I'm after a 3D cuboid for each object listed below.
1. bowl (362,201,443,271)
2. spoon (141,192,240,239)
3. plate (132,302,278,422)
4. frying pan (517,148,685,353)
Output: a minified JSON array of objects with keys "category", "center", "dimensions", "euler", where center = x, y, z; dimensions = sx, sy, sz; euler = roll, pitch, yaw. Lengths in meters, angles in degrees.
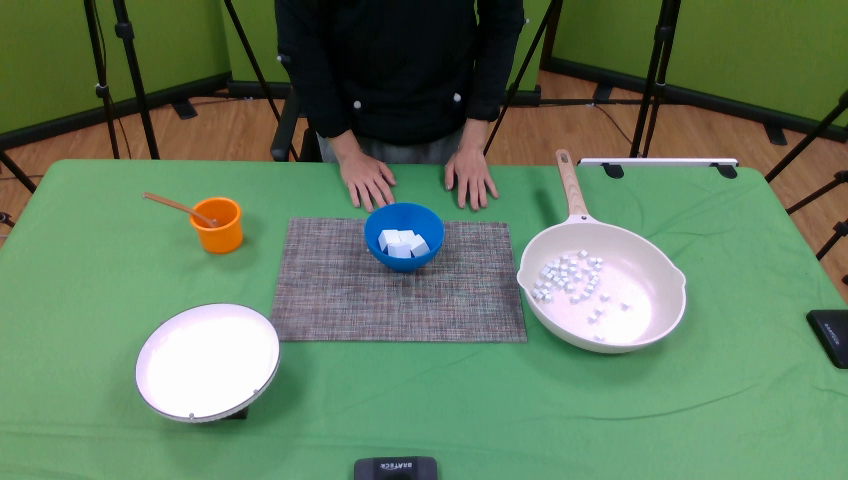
[{"category":"bowl","center":[-0.041,0.006,1.145],"dimensions":[0.151,0.077,0.150],"euler":[2,46,-2]},{"category":"spoon","center":[-0.428,-0.048,1.123],"dimensions":[0.021,0.195,0.041],"euler":[-38,44,20]},{"category":"plate","center":[-0.325,0.186,0.916],"dimensions":[0.208,0.039,0.206],"euler":[3,44,-2]},{"category":"frying pan","center":[0.310,0.002,1.163],"dimensions":[0.307,0.103,0.484],"euler":[0,55,-5]}]
